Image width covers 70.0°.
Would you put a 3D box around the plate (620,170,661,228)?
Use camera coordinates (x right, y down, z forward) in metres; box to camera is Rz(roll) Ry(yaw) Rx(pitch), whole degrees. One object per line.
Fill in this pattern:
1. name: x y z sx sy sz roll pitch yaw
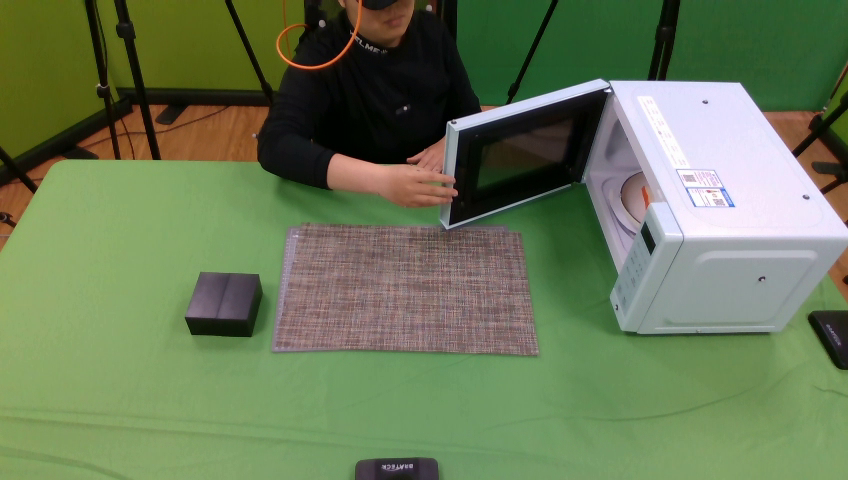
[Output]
1. plate: 0.490 -0.060 1.194 0.209 0.038 0.208 3 45 -2

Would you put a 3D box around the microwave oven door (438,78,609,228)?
1. microwave oven door: 0.196 -0.173 1.203 0.356 0.245 0.039 -20 50 -21

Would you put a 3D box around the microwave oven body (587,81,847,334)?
1. microwave oven body: 0.501 -0.070 1.132 0.326 0.261 0.438 -1 45 -3

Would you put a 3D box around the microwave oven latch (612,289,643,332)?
1. microwave oven latch: 0.357 0.124 1.068 0.030 0.029 0.078 0 45 -3

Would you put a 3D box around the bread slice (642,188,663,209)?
1. bread slice: 0.493 -0.057 1.196 0.105 0.019 0.131 6 43 3
